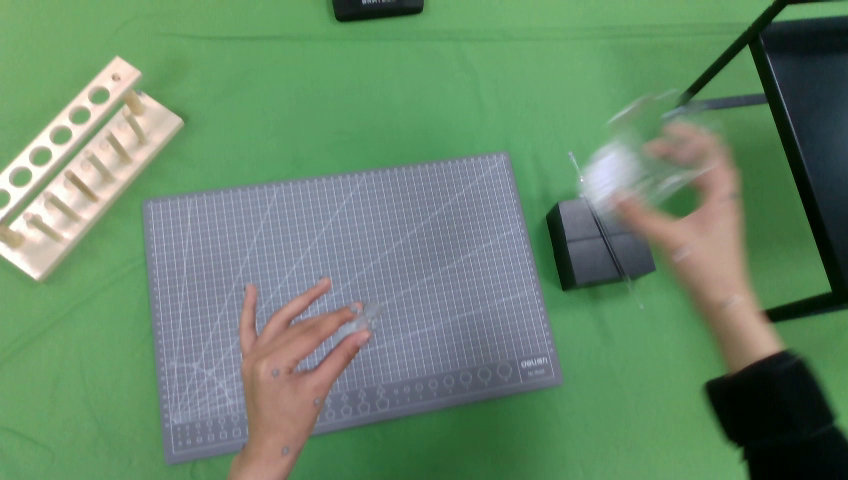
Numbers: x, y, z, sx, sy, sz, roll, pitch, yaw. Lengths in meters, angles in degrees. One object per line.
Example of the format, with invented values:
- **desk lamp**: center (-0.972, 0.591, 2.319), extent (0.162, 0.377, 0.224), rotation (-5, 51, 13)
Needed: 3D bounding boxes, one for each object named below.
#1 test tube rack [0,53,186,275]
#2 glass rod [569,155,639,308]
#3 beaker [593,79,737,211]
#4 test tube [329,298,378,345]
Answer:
- **test tube rack**: center (-0.383, -0.083, 0.673), extent (0.066, 0.085, 0.241), rotation (35, 74, 4)
- **glass rod**: center (0.213, -0.012, 0.719), extent (0.008, 0.008, 0.198), rotation (-18, 79, -11)
- **beaker**: center (0.187, -0.073, 0.495), extent (0.084, 0.100, 0.073), rotation (17, 68, -5)
- **test tube**: center (-0.065, 0.075, 0.537), extent (0.017, 0.150, 0.017), rotation (6, 70, -17)
